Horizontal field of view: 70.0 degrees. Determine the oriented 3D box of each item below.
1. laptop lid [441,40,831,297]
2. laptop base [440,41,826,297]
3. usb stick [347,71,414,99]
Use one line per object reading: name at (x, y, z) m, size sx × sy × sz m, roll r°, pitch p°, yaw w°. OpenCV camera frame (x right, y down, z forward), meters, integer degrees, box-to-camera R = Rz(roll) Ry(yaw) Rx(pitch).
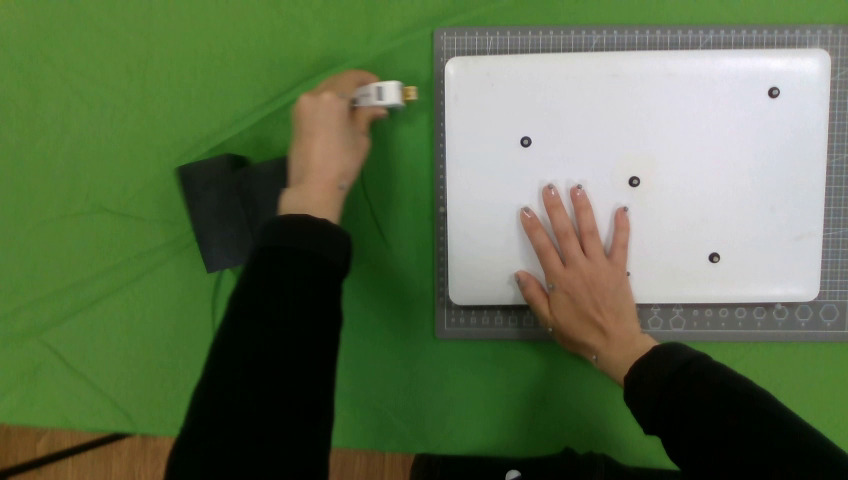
laptop lid at (0.193, -0.062, 0.566) m, size 0.357 × 0.013 × 0.242 m, roll 1°, pitch 99°, yaw 1°
laptop base at (0.193, -0.065, 0.575) m, size 0.354 × 0.023 × 0.236 m, roll -1°, pitch 99°, yaw 1°
usb stick at (-0.040, -0.144, 0.560) m, size 0.059 × 0.027 × 0.021 m, roll -3°, pitch 100°, yaw 4°
